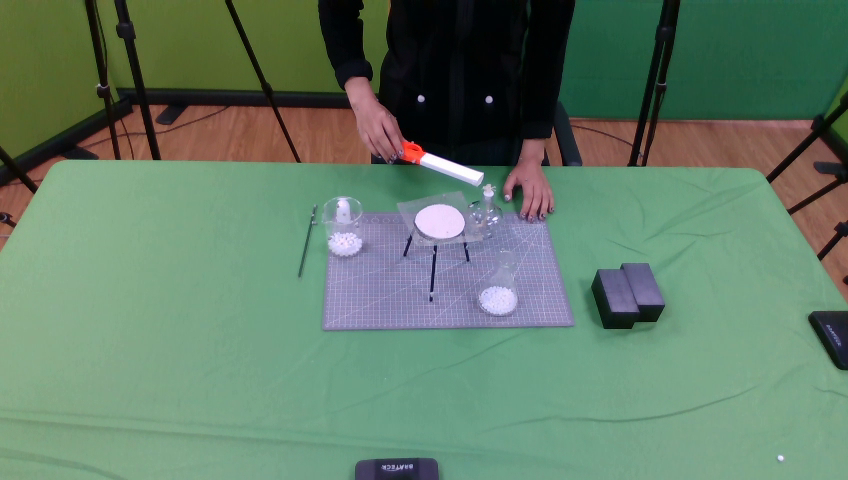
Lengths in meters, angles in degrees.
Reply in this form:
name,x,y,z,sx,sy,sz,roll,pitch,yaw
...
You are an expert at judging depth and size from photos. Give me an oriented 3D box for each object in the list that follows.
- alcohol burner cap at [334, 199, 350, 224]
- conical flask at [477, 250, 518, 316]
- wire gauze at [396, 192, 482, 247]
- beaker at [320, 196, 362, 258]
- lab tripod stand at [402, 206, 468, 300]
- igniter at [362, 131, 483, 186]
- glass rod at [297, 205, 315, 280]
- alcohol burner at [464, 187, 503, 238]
name,x,y,z,sx,sy,sz,roll,pitch,yaw
alcohol burner cap,-0.167,-0.061,1.228,0.034,0.048,0.033,2,46,-2
conical flask,0.137,0.072,1.067,0.075,0.122,0.075,2,46,-2
wire gauze,0.025,-0.036,1.061,0.125,0.011,0.120,-9,47,-14
beaker,-0.156,-0.020,1.150,0.084,0.101,0.073,-30,55,-28
lab tripod stand,0.023,0.013,1.108,0.148,0.132,0.147,3,44,-2
igniter,-0.011,-0.166,1.208,0.275,0.025,0.057,23,47,21
glass rod,-0.231,0.001,1.191,0.008,0.008,0.198,2,46,-1
alcohol burner,0.120,-0.061,1.201,0.078,0.119,0.077,3,47,-3
